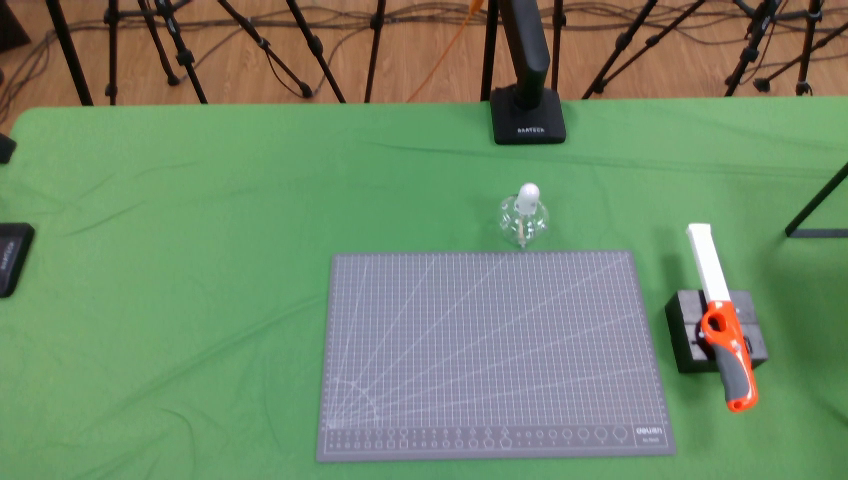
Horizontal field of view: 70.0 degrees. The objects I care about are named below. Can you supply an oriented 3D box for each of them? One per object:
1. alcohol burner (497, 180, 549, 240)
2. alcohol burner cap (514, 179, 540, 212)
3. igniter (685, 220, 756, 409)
[{"bbox_3d":[0.147,-0.051,0.882,0.078,0.120,0.077,2,60,-2],"label":"alcohol burner"},{"bbox_3d":[0.147,-0.066,0.855,0.034,0.048,0.033,2,58,-2],"label":"alcohol burner cap"},{"bbox_3d":[0.389,0.089,0.801,0.057,0.025,0.274,2,56,1],"label":"igniter"}]
